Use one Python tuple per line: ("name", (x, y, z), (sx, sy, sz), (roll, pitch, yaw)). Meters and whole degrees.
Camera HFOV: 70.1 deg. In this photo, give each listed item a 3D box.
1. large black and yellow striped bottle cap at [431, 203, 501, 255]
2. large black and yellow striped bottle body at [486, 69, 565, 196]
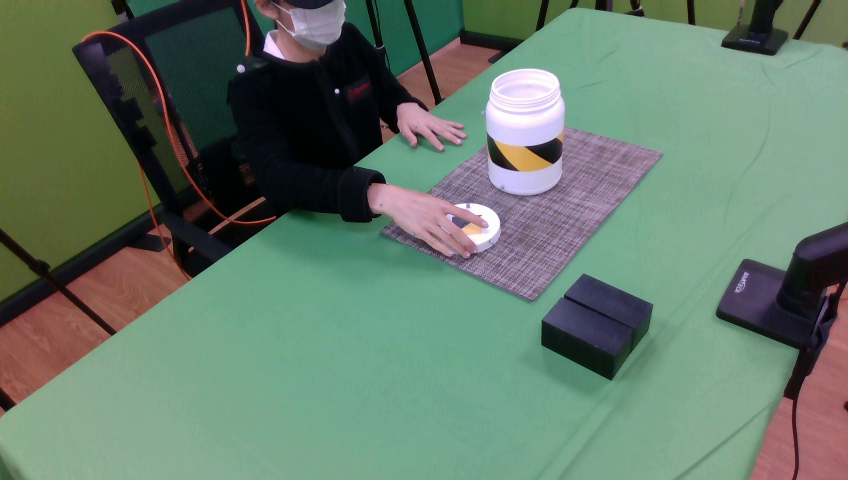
("large black and yellow striped bottle cap", (0.068, -0.020, 0.987), (0.115, 0.019, 0.114), (-3, 41, 3))
("large black and yellow striped bottle body", (0.173, -0.183, 1.033), (0.131, 0.185, 0.130), (-5, 41, 5))
